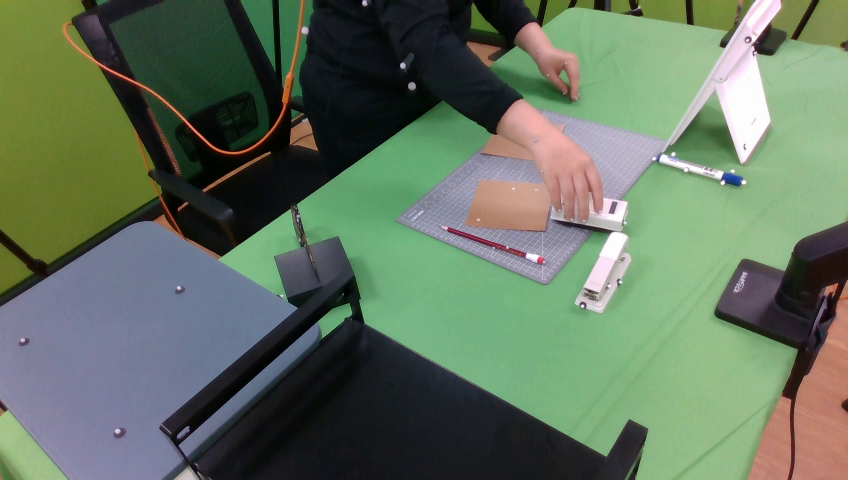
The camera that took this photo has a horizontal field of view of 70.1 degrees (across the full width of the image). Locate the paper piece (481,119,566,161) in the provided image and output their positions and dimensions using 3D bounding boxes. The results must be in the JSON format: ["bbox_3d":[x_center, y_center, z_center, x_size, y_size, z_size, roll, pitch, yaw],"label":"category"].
[{"bbox_3d":[0.197,-0.199,1.188,0.135,0.004,0.135,10,44,22],"label":"paper piece"}]

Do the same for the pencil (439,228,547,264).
[{"bbox_3d":[0.105,0.007,0.957,0.192,0.012,0.012,18,46,30],"label":"pencil"}]

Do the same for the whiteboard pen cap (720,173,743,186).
[{"bbox_3d":[0.519,-0.103,1.020,0.033,0.018,0.018,23,49,29],"label":"whiteboard pen cap"}]

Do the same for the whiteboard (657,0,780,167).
[{"bbox_3d":[0.571,-0.272,1.038,0.143,0.306,0.218,37,54,17],"label":"whiteboard"}]

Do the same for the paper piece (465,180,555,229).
[{"bbox_3d":[0.149,-0.062,1.034,0.137,0.009,0.136,5,37,16],"label":"paper piece"}]

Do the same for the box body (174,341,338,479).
[{"bbox_3d":[-0.311,0.165,0.720,0.361,0.161,0.255,23,48,32],"label":"box body"}]

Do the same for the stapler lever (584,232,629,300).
[{"bbox_3d":[0.260,0.034,0.858,0.026,0.040,0.118,16,46,30],"label":"stapler lever"}]

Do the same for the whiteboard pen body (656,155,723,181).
[{"bbox_3d":[0.475,-0.122,1.052,0.139,0.017,0.017,24,49,32],"label":"whiteboard pen body"}]

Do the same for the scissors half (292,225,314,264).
[{"bbox_3d":[-0.188,0.007,0.954,0.013,0.040,0.174,-20,21,-13],"label":"scissors half"}]

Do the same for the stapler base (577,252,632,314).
[{"bbox_3d":[0.264,0.051,0.875,0.041,0.024,0.131,16,47,30],"label":"stapler base"}]

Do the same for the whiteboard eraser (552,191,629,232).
[{"bbox_3d":[0.266,-0.044,0.967,0.112,0.042,0.055,11,43,21],"label":"whiteboard eraser"}]

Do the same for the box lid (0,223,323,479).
[{"bbox_3d":[-0.318,0.109,0.671,0.368,0.015,0.264,24,49,31],"label":"box lid"}]

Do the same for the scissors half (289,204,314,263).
[{"bbox_3d":[-0.191,-0.010,0.944,0.013,0.040,0.173,-15,37,-16],"label":"scissors half"}]
